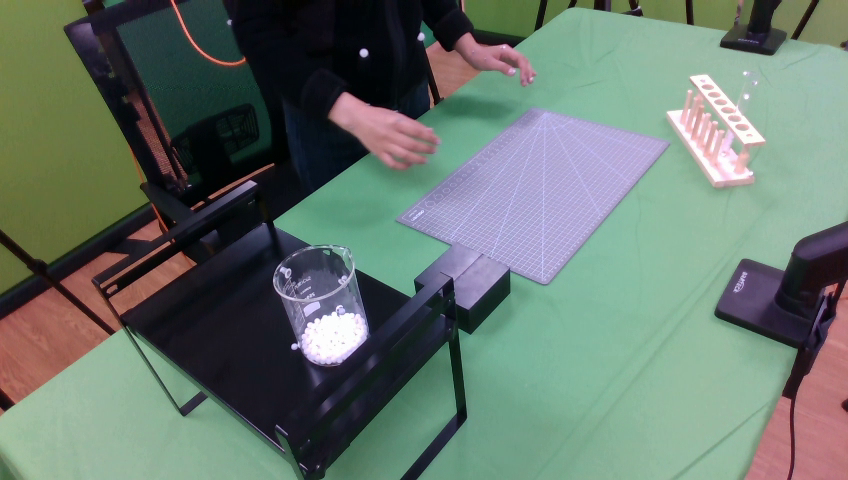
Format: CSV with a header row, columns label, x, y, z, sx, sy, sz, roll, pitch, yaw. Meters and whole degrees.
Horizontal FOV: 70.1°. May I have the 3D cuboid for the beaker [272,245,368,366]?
label,x,y,z,sx,sy,sz,roll,pitch,yaw
beaker,-0.093,0.064,0.578,0.073,0.101,0.084,21,48,29

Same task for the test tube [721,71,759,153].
label,x,y,z,sx,sy,sz,roll,pitch,yaw
test tube,0.529,-0.212,1.015,0.017,0.151,0.017,0,40,0

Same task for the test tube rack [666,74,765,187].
label,x,y,z,sx,sy,sz,roll,pitch,yaw
test tube rack,0.512,-0.202,1.082,0.067,0.085,0.241,-5,41,2
